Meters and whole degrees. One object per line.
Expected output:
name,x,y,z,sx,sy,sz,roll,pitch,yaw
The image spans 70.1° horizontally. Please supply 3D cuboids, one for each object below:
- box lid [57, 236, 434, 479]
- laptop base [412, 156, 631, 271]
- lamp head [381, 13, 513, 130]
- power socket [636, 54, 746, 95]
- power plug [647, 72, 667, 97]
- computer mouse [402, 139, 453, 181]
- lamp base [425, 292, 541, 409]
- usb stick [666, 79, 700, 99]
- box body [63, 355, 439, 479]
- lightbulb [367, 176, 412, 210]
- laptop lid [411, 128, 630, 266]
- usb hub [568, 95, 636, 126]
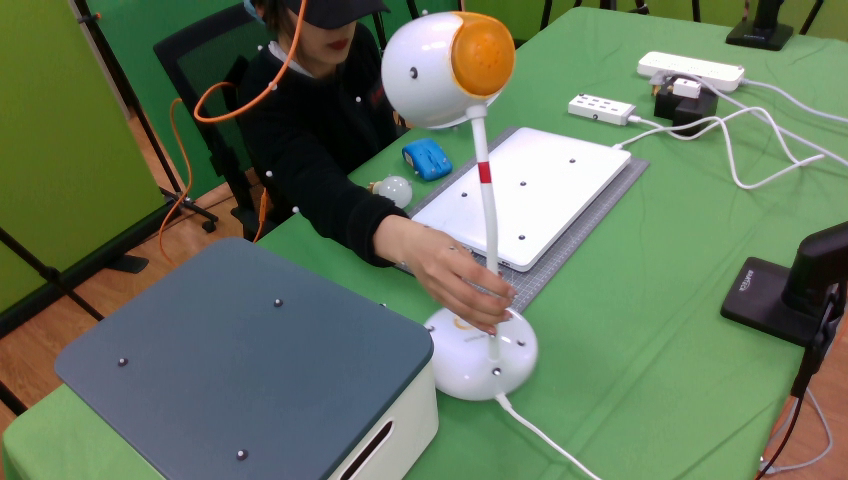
box lid,-0.198,0.123,0.653,0.368,0.015,0.264,21,49,32
laptop base,0.176,-0.083,1.055,0.233,0.023,0.355,21,48,36
lamp head,0.030,-0.161,0.576,0.113,0.113,0.122,-26,21,-19
power socket,0.564,-0.357,1.293,0.225,0.033,0.072,24,51,33
power plug,0.494,-0.321,1.261,0.073,0.052,0.035,0,21,-41
computer mouse,0.005,-0.159,1.165,0.063,0.041,0.116,-21,45,-17
lamp base,0.070,0.092,0.735,0.161,0.181,0.177,-20,46,-14
usb stick,0.492,-0.288,1.152,0.058,0.027,0.021,20,51,34
box body,-0.189,0.178,0.702,0.361,0.161,0.255,22,49,32
lightbulb,-0.066,-0.086,1.083,0.060,0.060,0.107,-38,32,-30
laptop lid,0.172,-0.093,1.049,0.239,0.013,0.358,24,50,36
usb hub,0.360,-0.264,1.228,0.124,0.025,0.049,24,49,34
